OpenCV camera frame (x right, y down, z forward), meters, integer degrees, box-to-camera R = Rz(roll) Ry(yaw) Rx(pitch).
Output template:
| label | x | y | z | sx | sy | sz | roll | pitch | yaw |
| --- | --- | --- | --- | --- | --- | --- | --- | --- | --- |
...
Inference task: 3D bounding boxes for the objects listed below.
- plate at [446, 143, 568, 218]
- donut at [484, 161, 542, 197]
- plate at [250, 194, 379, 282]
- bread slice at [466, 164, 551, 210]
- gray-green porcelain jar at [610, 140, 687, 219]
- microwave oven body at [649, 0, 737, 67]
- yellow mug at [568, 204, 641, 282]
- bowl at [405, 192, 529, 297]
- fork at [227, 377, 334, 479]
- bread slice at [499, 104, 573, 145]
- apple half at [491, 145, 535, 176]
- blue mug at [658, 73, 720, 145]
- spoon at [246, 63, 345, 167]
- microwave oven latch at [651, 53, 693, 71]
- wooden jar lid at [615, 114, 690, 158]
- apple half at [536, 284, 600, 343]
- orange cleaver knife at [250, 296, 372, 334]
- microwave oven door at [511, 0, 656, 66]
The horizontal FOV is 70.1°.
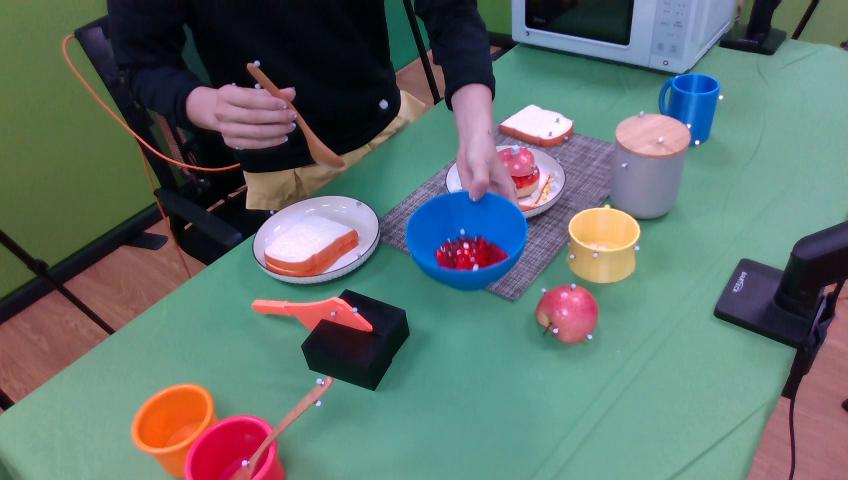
| label | x | y | z | sx | sy | sz | roll | pitch | yaw |
| --- | --- | --- | --- | --- | --- | --- | --- | --- | --- |
| plate | 0.142 | -0.097 | 1.045 | 0.207 | 0.039 | 0.206 | -4 | 40 | 4 |
| donut | 0.149 | -0.109 | 1.016 | 0.099 | 0.048 | 0.098 | -4 | 40 | 4 |
| plate | -0.174 | 0.000 | 0.984 | 0.209 | 0.038 | 0.208 | -4 | 40 | 4 |
| bread slice | 0.141 | -0.093 | 1.042 | 0.133 | 0.018 | 0.107 | 10 | 43 | 19 |
| gray-green porcelain jar | 0.354 | -0.106 | 0.964 | 0.106 | 0.127 | 0.105 | -4 | 41 | 4 |
| microwave oven body | 0.475 | -0.602 | 1.411 | 0.438 | 0.261 | 0.327 | 23 | 50 | 32 |
| yellow mug | 0.269 | -0.005 | 0.905 | 0.099 | 0.064 | 0.130 | 6 | 41 | 16 |
| bowl | 0.055 | 0.017 | 0.751 | 0.151 | 0.077 | 0.150 | -5 | 44 | 5 |
| fork | -0.162 | 0.216 | 0.647 | 0.207 | 0.019 | 0.028 | -49 | 41 | 16 |
| bread slice | 0.231 | -0.231 | 1.205 | 0.105 | 0.019 | 0.130 | -36 | 47 | -28 |
| apple half | 0.147 | -0.138 | 0.994 | 0.081 | 0.033 | 0.081 | 1 | 37 | 0 |
| blue mug | 0.483 | -0.250 | 1.127 | 0.082 | 0.106 | 0.115 | -26 | 44 | -19 |
| spoon | -0.160 | -0.151 | 0.760 | 0.041 | 0.195 | 0.021 | 0 | 55 | 30 |
| microwave oven latch | 0.532 | -0.386 | 1.301 | 0.078 | 0.029 | 0.030 | 27 | 52 | 34 |
| wooden jar lid | 0.347 | -0.155 | 0.923 | 0.108 | 0.021 | 0.108 | -3 | 44 | 4 |
| apple half | 0.196 | 0.090 | 0.815 | 0.075 | 0.053 | 0.080 | -22 | 42 | -20 |
| orange cleaver knife | -0.158 | 0.103 | 0.828 | 0.210 | 0.078 | 0.012 | -4 | 43 | 39 |
| microwave oven door | 0.350 | -0.539 | 1.348 | 0.353 | 0.245 | 0.039 | 24 | 50 | 31 |
